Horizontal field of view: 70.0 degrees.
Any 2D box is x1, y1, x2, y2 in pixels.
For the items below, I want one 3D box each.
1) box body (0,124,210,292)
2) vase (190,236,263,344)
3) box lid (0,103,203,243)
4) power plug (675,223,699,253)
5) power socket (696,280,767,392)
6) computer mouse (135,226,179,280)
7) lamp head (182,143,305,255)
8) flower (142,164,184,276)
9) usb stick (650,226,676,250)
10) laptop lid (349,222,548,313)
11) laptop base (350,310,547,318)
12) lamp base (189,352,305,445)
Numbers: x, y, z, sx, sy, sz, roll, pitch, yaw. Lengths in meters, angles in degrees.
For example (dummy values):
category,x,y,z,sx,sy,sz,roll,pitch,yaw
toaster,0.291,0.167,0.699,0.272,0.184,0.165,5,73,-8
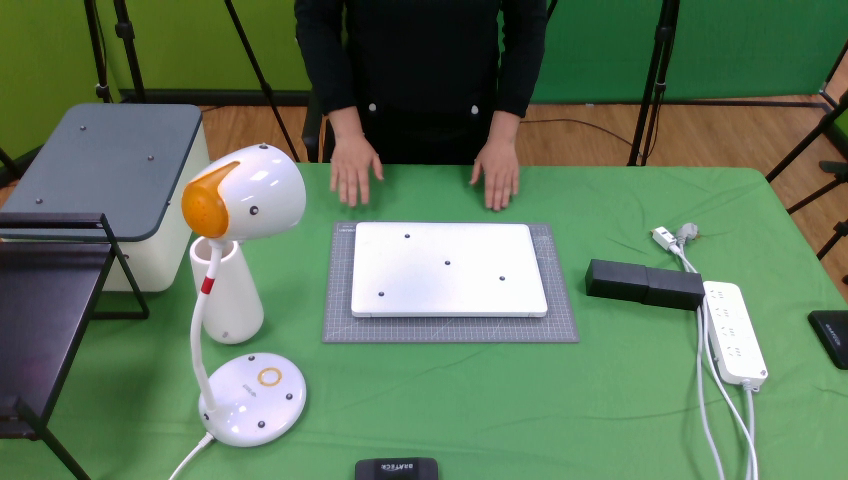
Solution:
category,x,y,z,sx,sy,sz,roll,pitch,yaw
box body,-0.567,-0.082,1.133,0.254,0.161,0.361,2,46,-3
vase,-0.317,0.081,0.971,0.098,0.201,0.097,3,47,-3
box lid,-0.563,-0.132,1.079,0.263,0.015,0.369,1,46,-3
power plug,0.538,0.000,1.243,0.053,0.035,0.072,18,82,-17
power socket,0.543,0.160,1.077,0.072,0.033,0.225,6,46,2
computer mouse,-0.493,0.020,1.118,0.063,0.041,0.116,1,53,-10
lamp head,-0.216,-0.044,0.697,0.112,0.113,0.123,23,31,17
flower,-0.493,-0.056,1.172,0.038,0.044,0.359,36,23,-32
usb stick,0.485,-0.008,1.238,0.021,0.027,0.059,-22,44,-13
laptop lid,0.042,0.046,1.142,0.357,0.013,0.240,2,44,-3
laptop base,0.041,0.056,1.149,0.355,0.023,0.234,0,43,-4
lamp base,-0.268,0.197,0.876,0.160,0.181,0.179,25,52,20
